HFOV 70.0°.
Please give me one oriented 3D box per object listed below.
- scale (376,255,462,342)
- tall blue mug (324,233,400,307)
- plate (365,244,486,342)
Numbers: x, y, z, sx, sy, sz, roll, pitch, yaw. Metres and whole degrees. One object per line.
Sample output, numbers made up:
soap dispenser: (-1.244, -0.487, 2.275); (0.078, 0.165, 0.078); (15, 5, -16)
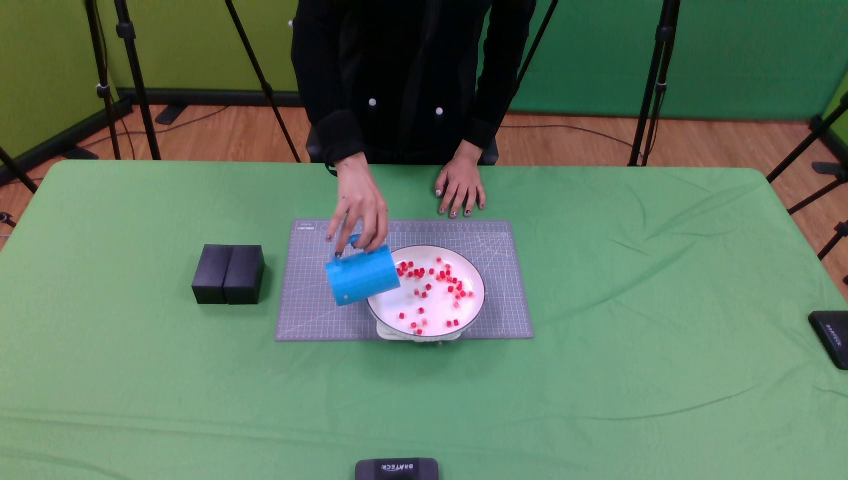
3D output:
scale: (-0.010, 0.096, 1.094); (0.149, 0.032, 0.199); (2, 46, -3)
tall blue mug: (-0.103, 0.049, 0.983); (0.108, 0.108, 0.077); (-17, 57, -5)
plate: (0.001, 0.093, 1.051); (0.209, 0.038, 0.208); (1, 46, -1)
